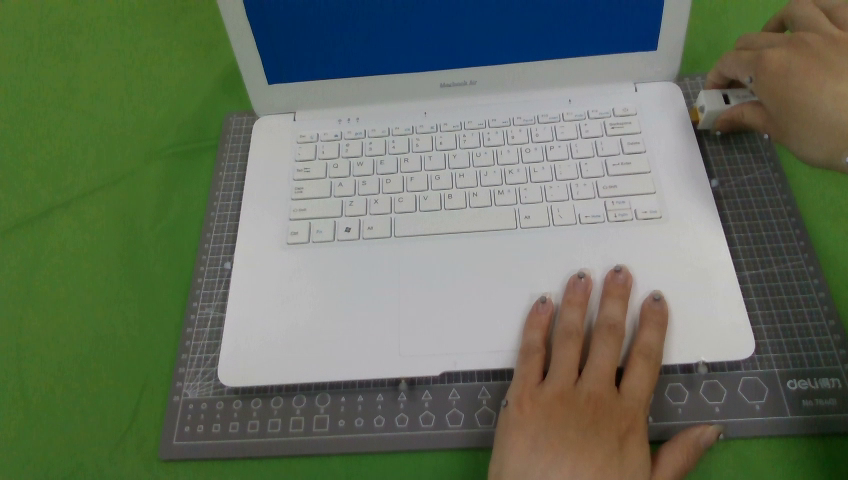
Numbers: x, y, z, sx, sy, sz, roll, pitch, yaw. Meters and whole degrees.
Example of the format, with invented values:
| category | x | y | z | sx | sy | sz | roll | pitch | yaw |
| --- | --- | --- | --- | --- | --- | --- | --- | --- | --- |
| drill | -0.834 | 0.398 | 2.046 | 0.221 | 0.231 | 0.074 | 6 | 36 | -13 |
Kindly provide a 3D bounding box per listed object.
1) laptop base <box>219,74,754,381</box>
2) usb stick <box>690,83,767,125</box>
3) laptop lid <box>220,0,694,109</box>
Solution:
| category | x | y | z | sx | sy | sz | roll | pitch | yaw |
| --- | --- | --- | --- | --- | --- | --- | --- | --- | --- |
| laptop base | 0.034 | -0.017 | 0.453 | 0.354 | 0.023 | 0.233 | -4 | 64 | 4 |
| usb stick | 0.228 | -0.105 | 0.468 | 0.059 | 0.027 | 0.021 | -3 | 60 | 7 |
| laptop lid | 0.020 | -0.205 | 0.429 | 0.356 | 0.244 | 0.013 | -5 | 43 | 5 |
